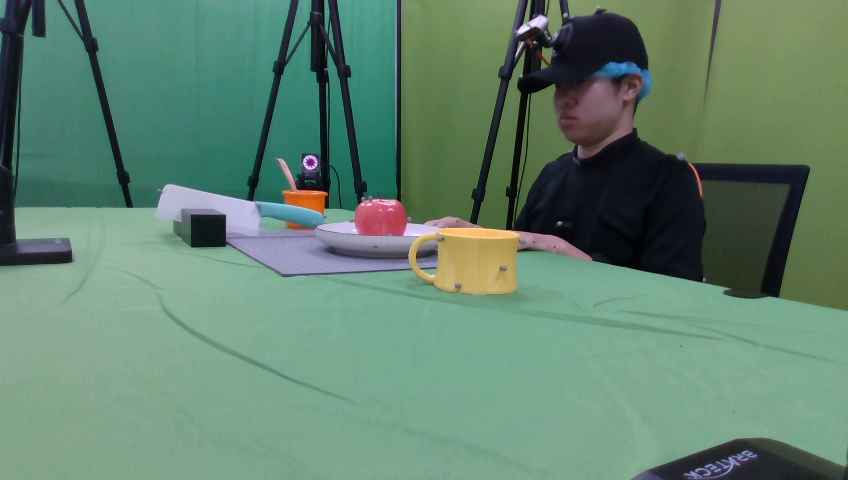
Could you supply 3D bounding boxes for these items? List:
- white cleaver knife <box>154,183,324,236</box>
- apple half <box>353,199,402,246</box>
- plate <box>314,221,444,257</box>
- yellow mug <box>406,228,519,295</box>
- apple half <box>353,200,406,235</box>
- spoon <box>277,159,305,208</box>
[{"bbox_3d":[-0.310,-0.042,1.049,0.288,0.066,0.021,10,4,-28],"label":"white cleaver knife"},{"bbox_3d":[-0.076,-0.029,0.946,0.081,0.081,0.032,0,12,-18],"label":"apple half"},{"bbox_3d":[-0.067,-0.002,0.948,0.209,0.038,0.209,3,7,0],"label":"plate"},{"bbox_3d":[0.044,0.022,0.707,0.131,0.064,0.100,2,7,4],"label":"yellow mug"},{"bbox_3d":[-0.064,-0.023,0.909,0.081,0.074,0.053,3,11,-17],"label":"apple half"},{"bbox_3d":[-0.272,-0.103,1.260,0.042,0.193,0.021,-4,-34,-33],"label":"spoon"}]
